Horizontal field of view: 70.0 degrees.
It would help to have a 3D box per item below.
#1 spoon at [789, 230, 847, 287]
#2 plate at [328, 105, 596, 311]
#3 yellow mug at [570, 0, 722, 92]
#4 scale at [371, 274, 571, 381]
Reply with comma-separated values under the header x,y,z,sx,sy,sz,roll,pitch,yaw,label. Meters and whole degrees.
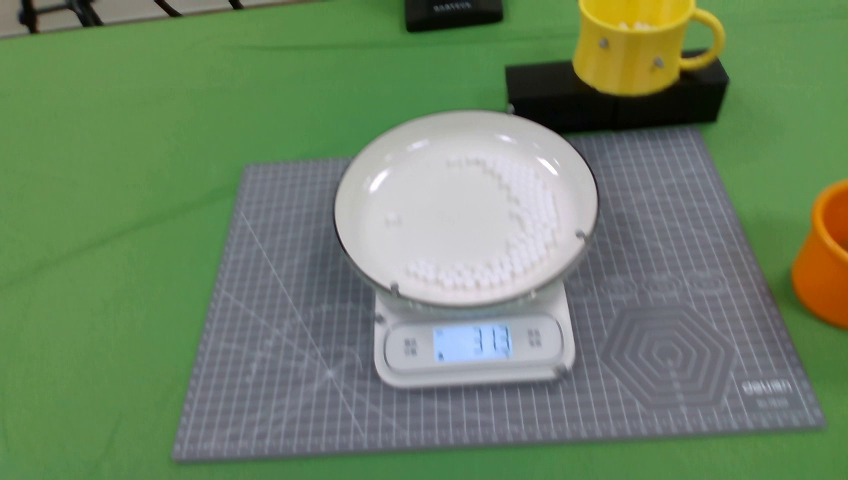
x,y,z,sx,sy,sz,roll,pitch,yaw,label
0.347,-0.024,0.413,0.022,0.194,0.041,25,40,-30,spoon
0.029,-0.028,0.484,0.209,0.038,0.207,-3,52,4,plate
0.202,-0.191,0.553,0.130,0.064,0.099,13,55,16,yellow mug
0.032,0.015,0.492,0.148,0.032,0.199,-4,52,4,scale
